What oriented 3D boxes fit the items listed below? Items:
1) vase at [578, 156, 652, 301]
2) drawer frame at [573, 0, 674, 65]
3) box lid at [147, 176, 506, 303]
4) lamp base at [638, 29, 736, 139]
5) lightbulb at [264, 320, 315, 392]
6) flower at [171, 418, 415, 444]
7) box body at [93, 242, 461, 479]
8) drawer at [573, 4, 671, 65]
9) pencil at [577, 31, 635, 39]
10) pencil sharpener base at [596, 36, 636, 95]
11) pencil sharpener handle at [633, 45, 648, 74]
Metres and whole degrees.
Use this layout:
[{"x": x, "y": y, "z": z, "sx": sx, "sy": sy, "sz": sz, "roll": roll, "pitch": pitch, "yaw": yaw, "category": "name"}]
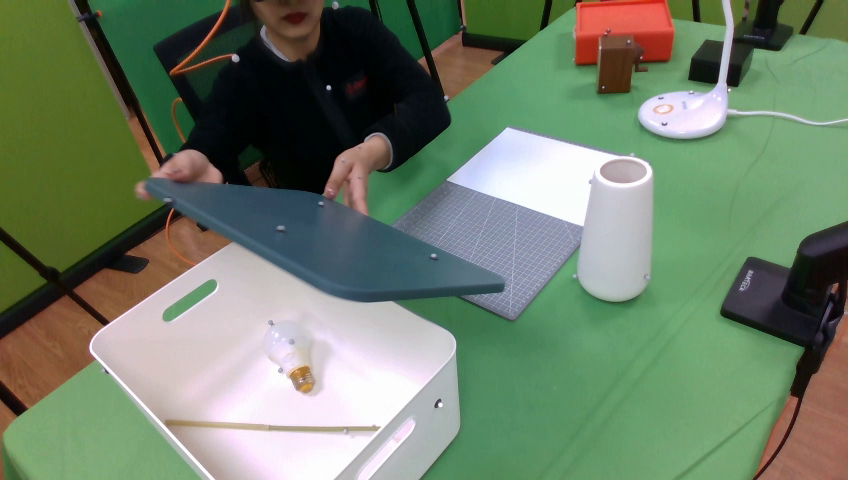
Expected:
[{"x": 0.261, "y": -0.011, "z": 0.812, "sx": 0.098, "sy": 0.201, "sz": 0.097, "roll": -4, "pitch": 40, "yaw": 4, "category": "vase"}, {"x": 0.464, "y": -0.492, "z": 1.434, "sx": 0.213, "sy": 0.083, "sz": 0.201, "roll": 1, "pitch": 40, "yaw": 12, "category": "drawer frame"}, {"x": -0.114, "y": -0.009, "z": 0.687, "sx": 0.368, "sy": 0.015, "sz": 0.265, "roll": 24, "pitch": 14, "yaw": 37, "category": "box lid"}, {"x": 0.501, "y": -0.302, "z": 1.125, "sx": 0.179, "sy": 0.181, "sz": 0.160, "roll": -4, "pitch": 40, "yaw": 3, "category": "lamp base"}, {"x": -0.174, "y": 0.155, "z": 0.806, "sx": 0.060, "sy": 0.060, "sz": 0.107, "roll": -23, "pitch": 58, "yaw": -16, "category": "lightbulb"}, {"x": -0.154, "y": 0.228, "z": 0.742, "sx": 0.360, "sy": 0.038, "sz": 0.044, "roll": -2, "pitch": 46, "yaw": 15, "category": "flower"}, {"x": -0.162, "y": 0.170, "z": 0.708, "sx": 0.361, "sy": 0.161, "sz": 0.255, "roll": 25, "pitch": 50, "yaw": 34, "category": "box body"}, {"x": 0.461, "y": -0.490, "z": 1.435, "sx": 0.211, "sy": 0.073, "sz": 0.194, "roll": 2, "pitch": 40, "yaw": 12, "category": "drawer"}, {"x": 0.431, "y": -0.489, "z": 1.443, "sx": 0.012, "sy": 0.012, "sz": 0.192, "roll": -25, "pitch": 30, "yaw": -18, "category": "pencil"}, {"x": 0.406, "y": -0.369, "z": 1.280, "sx": 0.076, "sy": 0.107, "sz": 0.061, "roll": 1, "pitch": 41, "yaw": 13, "category": "pencil sharpener base"}, {"x": 0.454, "y": -0.378, "z": 1.262, "sx": 0.030, "sy": 0.068, "sz": 0.036, "roll": 1, "pitch": 47, "yaw": 13, "category": "pencil sharpener handle"}]
